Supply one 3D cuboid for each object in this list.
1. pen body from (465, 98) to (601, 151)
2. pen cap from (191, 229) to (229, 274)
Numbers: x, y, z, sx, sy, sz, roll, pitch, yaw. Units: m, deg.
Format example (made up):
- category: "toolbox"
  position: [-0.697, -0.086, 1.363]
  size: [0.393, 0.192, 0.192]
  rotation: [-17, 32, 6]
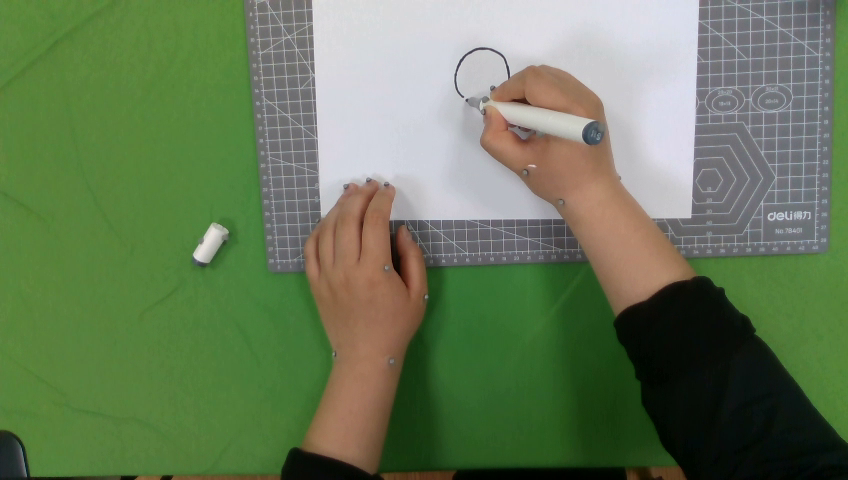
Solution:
- category: "pen body"
  position: [0.069, -0.084, 0.426]
  size: [0.017, 0.142, 0.017]
  rotation: [-13, 117, -27]
- category: "pen cap"
  position: [-0.181, 0.011, 0.510]
  size: [0.017, 0.017, 0.038]
  rotation: [36, 98, 1]
